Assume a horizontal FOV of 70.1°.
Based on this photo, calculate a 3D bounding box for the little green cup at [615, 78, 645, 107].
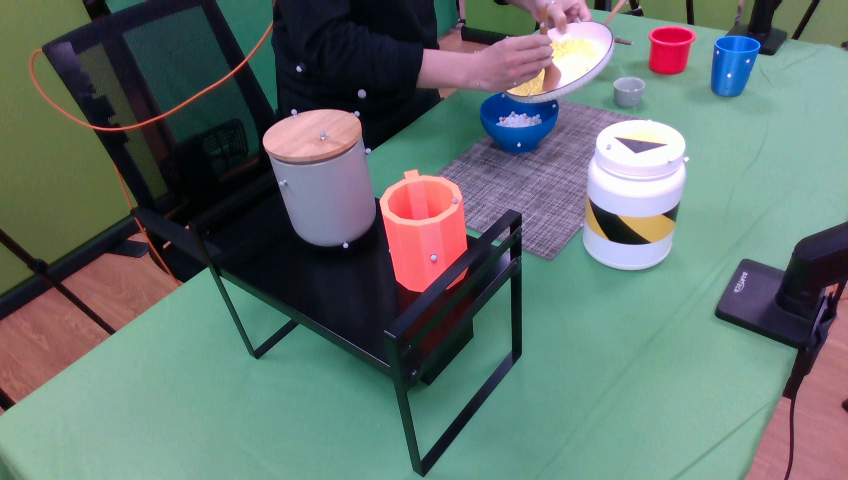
[{"bbox_3d":[0.426,-0.306,1.257,0.061,0.039,0.061,-4,40,4],"label":"little green cup"}]

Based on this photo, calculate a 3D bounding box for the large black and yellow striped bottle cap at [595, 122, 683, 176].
[{"bbox_3d":[0.293,-0.126,0.826,0.115,0.019,0.114,-3,40,3],"label":"large black and yellow striped bottle cap"}]

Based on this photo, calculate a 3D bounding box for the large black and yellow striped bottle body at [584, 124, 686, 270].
[{"bbox_3d":[0.304,-0.063,0.880,0.131,0.185,0.130,-5,41,5],"label":"large black and yellow striped bottle body"}]

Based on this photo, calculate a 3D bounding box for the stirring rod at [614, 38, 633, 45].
[{"bbox_3d":[0.382,-0.453,1.345,0.174,0.006,0.014,26,52,34],"label":"stirring rod"}]

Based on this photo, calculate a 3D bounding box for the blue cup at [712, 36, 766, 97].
[{"bbox_3d":[0.627,-0.350,1.227,0.092,0.100,0.092,-4,39,4],"label":"blue cup"}]

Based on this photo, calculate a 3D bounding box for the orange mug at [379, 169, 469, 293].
[{"bbox_3d":[-0.002,-0.019,0.665,0.083,0.101,0.125,-12,45,-4],"label":"orange mug"}]

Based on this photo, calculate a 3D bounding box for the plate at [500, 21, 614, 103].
[{"bbox_3d":[0.240,-0.313,1.083,0.208,0.038,0.208,-20,40,19],"label":"plate"}]

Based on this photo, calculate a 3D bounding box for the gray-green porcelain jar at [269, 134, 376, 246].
[{"bbox_3d":[-0.115,-0.064,0.715,0.106,0.127,0.105,-4,40,4],"label":"gray-green porcelain jar"}]

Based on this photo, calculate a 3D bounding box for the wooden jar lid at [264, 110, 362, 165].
[{"bbox_3d":[-0.122,-0.112,0.673,0.108,0.021,0.108,-4,37,4],"label":"wooden jar lid"}]

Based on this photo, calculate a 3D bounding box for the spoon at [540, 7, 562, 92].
[{"bbox_3d":[0.200,-0.302,0.976,0.041,0.195,0.021,-36,58,-2],"label":"spoon"}]

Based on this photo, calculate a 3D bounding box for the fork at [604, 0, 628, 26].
[{"bbox_3d":[0.413,-0.481,1.377,0.207,0.019,0.028,-56,43,12],"label":"fork"}]

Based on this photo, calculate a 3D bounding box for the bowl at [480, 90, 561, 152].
[{"bbox_3d":[0.185,-0.222,1.160,0.151,0.077,0.150,-5,40,5],"label":"bowl"}]
